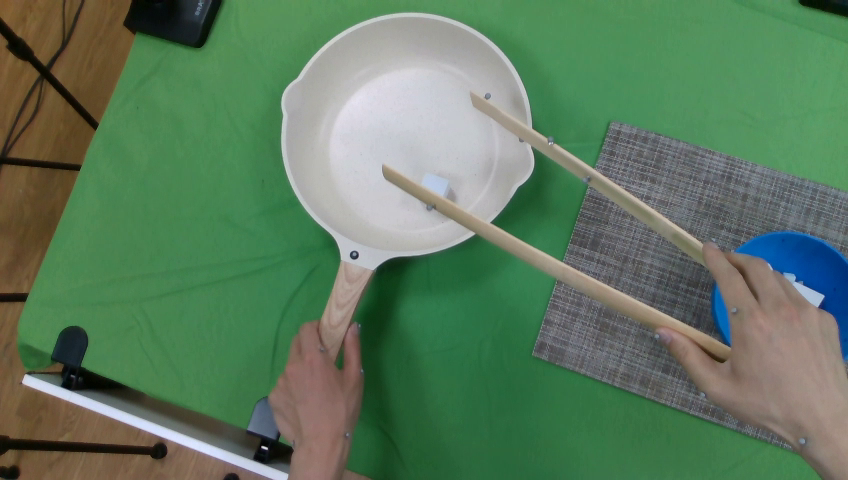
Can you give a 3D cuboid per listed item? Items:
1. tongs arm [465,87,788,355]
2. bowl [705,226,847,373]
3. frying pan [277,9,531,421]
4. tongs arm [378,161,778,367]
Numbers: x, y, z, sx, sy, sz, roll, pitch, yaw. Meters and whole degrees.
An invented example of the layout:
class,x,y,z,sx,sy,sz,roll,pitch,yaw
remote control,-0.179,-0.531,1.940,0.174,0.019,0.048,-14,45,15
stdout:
class,x,y,z,sx,sy,sz,roll,pitch,yaw
tongs arm,0.157,-0.037,0.558,0.051,0.027,0.381,-40,59,-17
bowl,0.371,0.065,0.653,0.151,0.077,0.151,-1,81,5
frying pan,-0.060,-0.032,0.698,0.306,0.103,0.486,19,75,9
tongs arm,0.106,0.010,0.537,0.384,0.028,0.028,29,62,26
